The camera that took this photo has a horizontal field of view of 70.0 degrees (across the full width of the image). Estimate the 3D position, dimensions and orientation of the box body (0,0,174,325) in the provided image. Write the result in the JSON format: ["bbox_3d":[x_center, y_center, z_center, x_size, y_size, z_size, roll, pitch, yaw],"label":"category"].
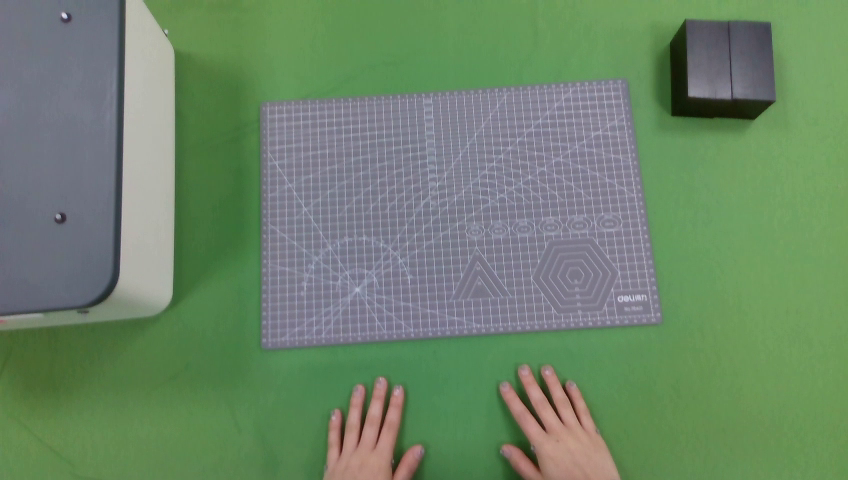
[{"bbox_3d":[-0.418,-0.094,0.649,0.254,0.161,0.362,-5,77,-1],"label":"box body"}]

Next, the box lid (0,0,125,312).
[{"bbox_3d":[-0.419,-0.113,0.578,0.263,0.015,0.369,-5,78,0],"label":"box lid"}]
